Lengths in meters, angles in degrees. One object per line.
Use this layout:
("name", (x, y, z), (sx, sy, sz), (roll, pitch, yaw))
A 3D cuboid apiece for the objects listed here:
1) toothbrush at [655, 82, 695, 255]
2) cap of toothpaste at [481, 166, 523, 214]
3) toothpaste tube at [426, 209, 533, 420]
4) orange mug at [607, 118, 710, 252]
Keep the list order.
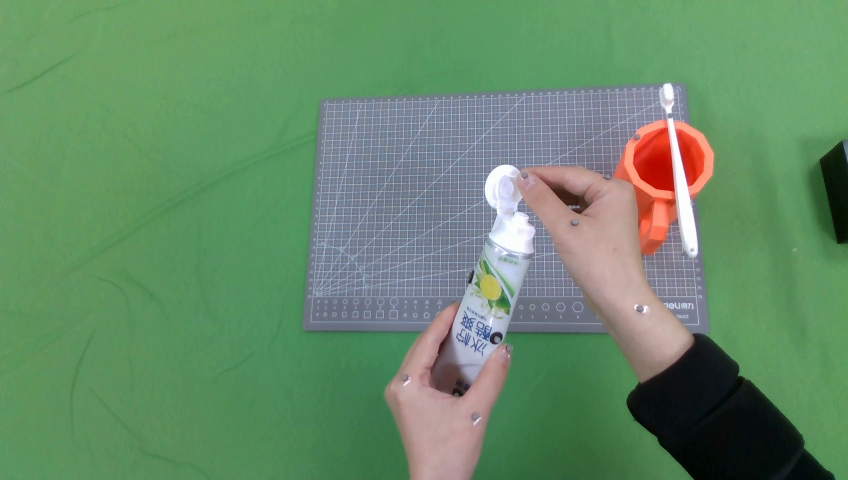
("toothbrush", (0.247, -0.074, 0.595), (0.014, 0.017, 0.181), (-4, 74, 4))
("cap of toothpaste", (0.058, -0.036, 0.438), (0.037, 0.011, 0.037), (-5, 101, -28))
("toothpaste tube", (0.043, 0.053, 0.450), (0.054, 0.035, 0.165), (29, 113, 34))
("orange mug", (0.245, -0.054, 0.645), (0.083, 0.101, 0.125), (8, 71, 10))
